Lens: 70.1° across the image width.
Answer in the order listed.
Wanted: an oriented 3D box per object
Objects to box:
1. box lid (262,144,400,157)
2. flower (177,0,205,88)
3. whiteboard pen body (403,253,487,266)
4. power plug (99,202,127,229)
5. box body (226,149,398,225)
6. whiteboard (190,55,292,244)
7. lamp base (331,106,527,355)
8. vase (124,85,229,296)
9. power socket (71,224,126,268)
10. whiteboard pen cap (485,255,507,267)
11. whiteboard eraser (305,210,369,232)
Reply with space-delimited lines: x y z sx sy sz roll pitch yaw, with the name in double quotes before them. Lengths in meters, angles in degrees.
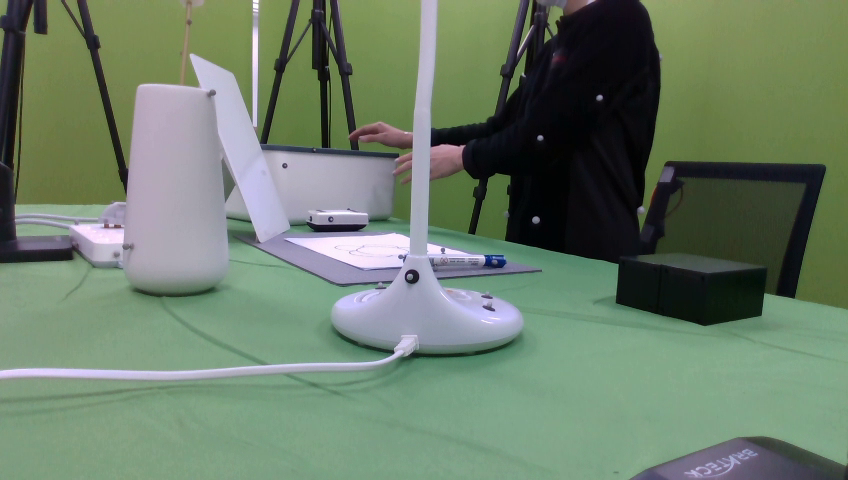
"box lid" -0.263 -0.203 1.369 0.262 0.015 0.373 9 10 39
"flower" -0.243 -0.131 0.609 0.044 0.361 0.038 -5 -12 12
"whiteboard pen body" 0.040 0.026 0.785 0.141 0.017 0.017 2 7 -24
"power plug" -0.415 -0.026 0.848 0.073 0.052 0.035 6 5 -28
"box body" -0.265 -0.129 1.380 0.253 0.160 0.366 8 9 39
"whiteboard" -0.363 -0.129 1.028 0.144 0.305 0.217 -18 7 3
"lamp base" 0.006 -0.012 0.478 0.161 0.180 0.179 2 10 2
"vase" -0.244 -0.047 0.598 0.098 0.200 0.098 3 8 0
"power socket" -0.409 0.004 0.793 0.072 0.032 0.225 -2 8 -37
"whiteboard pen cap" 0.093 0.028 0.810 0.033 0.018 0.018 2 7 -24
"whiteboard eraser" -0.168 -0.038 1.172 0.113 0.042 0.055 -3 8 -35
